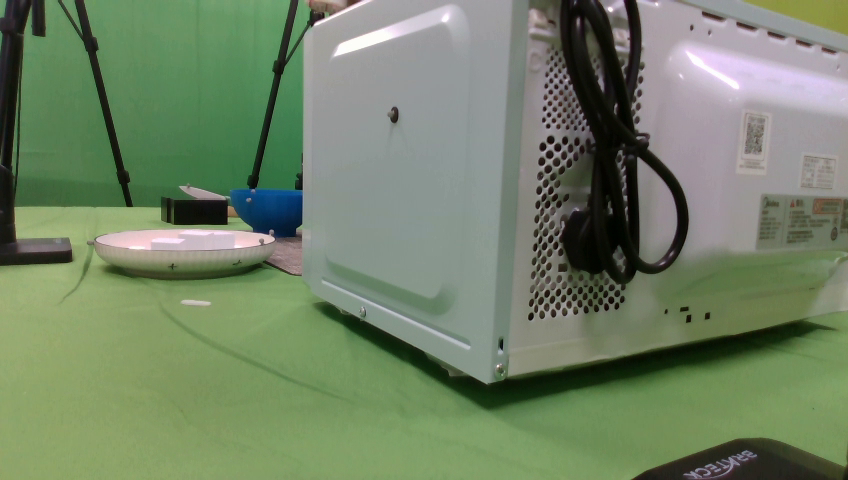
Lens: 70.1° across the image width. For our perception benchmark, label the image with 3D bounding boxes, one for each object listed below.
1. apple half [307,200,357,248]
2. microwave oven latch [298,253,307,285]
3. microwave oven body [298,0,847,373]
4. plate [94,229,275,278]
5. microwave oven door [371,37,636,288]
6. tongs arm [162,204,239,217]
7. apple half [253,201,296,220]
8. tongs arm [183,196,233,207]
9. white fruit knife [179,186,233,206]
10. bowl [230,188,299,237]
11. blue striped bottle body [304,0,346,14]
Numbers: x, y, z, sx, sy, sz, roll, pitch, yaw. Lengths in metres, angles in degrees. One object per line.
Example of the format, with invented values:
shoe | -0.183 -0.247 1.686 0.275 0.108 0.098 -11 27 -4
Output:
apple half | -0.135 -0.024 0.942 0.053 0.074 0.081 13 8 38
microwave oven latch | -0.081 0.027 0.582 0.079 0.029 0.030 -2 8 -33
microwave oven body | 0.151 -0.055 0.542 0.444 0.260 0.324 -2 7 -33
plate | -0.291 0.016 0.749 0.208 0.039 0.207 2 7 0
microwave oven door | 0.110 -0.080 0.686 0.358 0.243 0.039 -2 9 -33
tongs arm | -0.396 -0.065 1.400 0.389 0.028 0.028 1 6 -15
apple half | -0.264 -0.053 1.066 0.081 0.033 0.081 1 8 0
tongs arm | -0.404 -0.080 1.479 0.385 0.026 0.050 4 9 -2
white fruit knife | -0.413 -0.081 1.270 0.208 0.027 0.016 17 13 -41
bowl | -0.264 -0.048 1.066 0.151 0.077 0.151 3 8 0
blue striped bottle body | -0.143 -0.408 0.907 0.063 0.120 0.063 7 5 0
